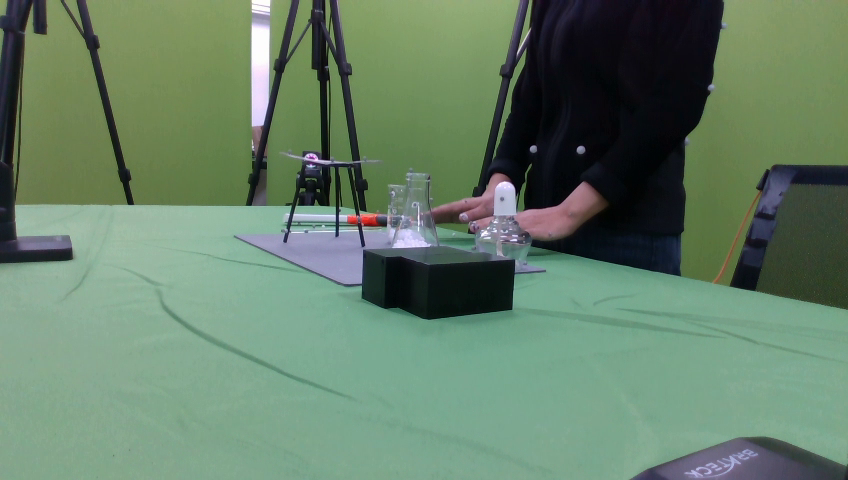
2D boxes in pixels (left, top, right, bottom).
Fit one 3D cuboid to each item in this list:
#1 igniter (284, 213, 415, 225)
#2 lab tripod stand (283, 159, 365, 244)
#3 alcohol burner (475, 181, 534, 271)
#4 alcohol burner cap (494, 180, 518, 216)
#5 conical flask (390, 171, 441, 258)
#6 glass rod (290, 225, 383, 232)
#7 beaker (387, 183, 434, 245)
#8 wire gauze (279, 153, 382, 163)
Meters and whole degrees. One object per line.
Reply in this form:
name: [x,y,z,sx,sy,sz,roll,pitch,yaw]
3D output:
igniter: [-0.154,-0.045,1.282,0.278,0.025,0.057,0,-3,-20]
lab tripod stand: [-0.151,-0.063,0.983,0.148,0.131,0.148,4,7,0]
alcohol burner: [0.108,-0.020,0.804,0.078,0.119,0.078,3,5,0]
alcohol burner cap: [0.108,-0.055,0.800,0.034,0.048,0.034,-2,4,0]
conical flask: [-0.010,-0.037,0.872,0.075,0.122,0.075,2,7,0]
glass rod: [-0.166,-0.023,1.174,0.201,0.008,0.008,-3,9,-35]
beaker: [-0.027,-0.044,1.012,0.074,0.100,0.083,-2,8,-34]
wire gauze: [-0.149,-0.129,0.974,0.124,0.011,0.122,10,9,41]
